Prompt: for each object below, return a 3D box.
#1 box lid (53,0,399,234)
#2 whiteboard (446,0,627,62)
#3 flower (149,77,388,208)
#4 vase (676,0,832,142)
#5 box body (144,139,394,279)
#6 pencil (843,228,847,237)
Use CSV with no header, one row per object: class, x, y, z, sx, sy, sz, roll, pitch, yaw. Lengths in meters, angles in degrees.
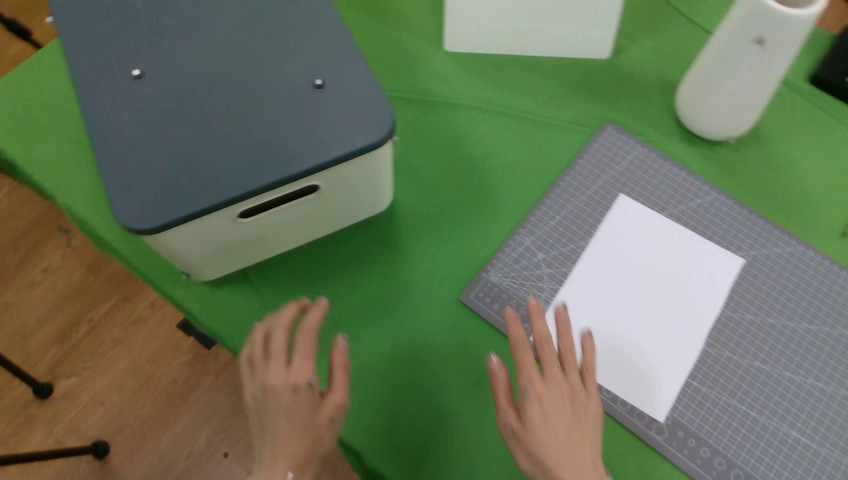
box lid,-0.209,-0.198,0.597,0.263,0.015,0.368,-23,68,-11
whiteboard,0.146,-0.393,0.728,0.217,0.308,0.142,4,46,2
flower,-0.200,-0.129,0.723,0.359,0.038,0.044,27,98,17
vase,0.354,-0.196,0.665,0.098,0.201,0.097,0,63,0
box body,-0.208,-0.165,0.663,0.254,0.161,0.361,-23,68,-11
pencil,0.549,-0.059,0.707,0.194,0.012,0.012,-36,70,-14
